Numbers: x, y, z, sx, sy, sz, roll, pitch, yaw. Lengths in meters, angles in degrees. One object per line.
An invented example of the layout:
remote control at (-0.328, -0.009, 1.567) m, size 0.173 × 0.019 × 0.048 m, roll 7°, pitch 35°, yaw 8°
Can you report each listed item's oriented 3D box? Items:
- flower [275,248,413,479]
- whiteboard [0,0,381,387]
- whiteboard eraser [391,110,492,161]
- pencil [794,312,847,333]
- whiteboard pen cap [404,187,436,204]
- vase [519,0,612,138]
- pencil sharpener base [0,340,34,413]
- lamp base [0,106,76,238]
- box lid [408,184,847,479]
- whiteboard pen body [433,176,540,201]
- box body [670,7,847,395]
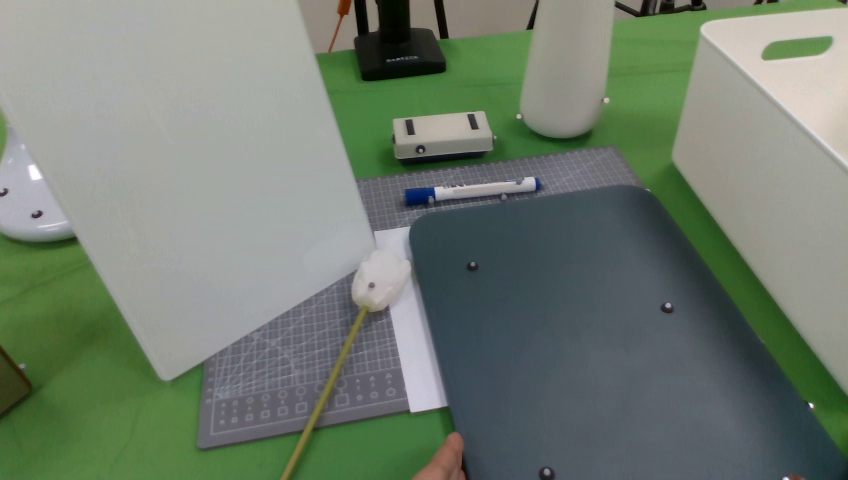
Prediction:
flower at (-0.087, 0.142, 0.447) m, size 0.044 × 0.038 × 0.359 m, roll 17°, pitch 51°, yaw 10°
whiteboard at (-0.198, -0.079, 0.513) m, size 0.217 × 0.308 × 0.142 m, roll -31°, pitch 31°, yaw -26°
whiteboard eraser at (0.019, -0.119, 0.699) m, size 0.113 × 0.042 × 0.055 m, roll -7°, pitch 42°, yaw -5°
pencil at (0.404, 0.085, 0.489) m, size 0.193 × 0.012 × 0.012 m, roll 13°, pitch 46°, yaw 13°
whiteboard pen cap at (-0.004, -0.047, 0.638) m, size 0.033 × 0.018 × 0.018 m, roll -4°, pitch 44°, yaw -6°
vase at (0.163, -0.215, 0.681) m, size 0.098 × 0.202 × 0.097 m, roll 0°, pitch 44°, yaw 0°
pencil sharpener base at (-0.360, 0.084, 0.450) m, size 0.076 × 0.108 × 0.061 m, roll 23°, pitch 50°, yaw 25°
lamp base at (-0.397, -0.118, 0.609) m, size 0.178 × 0.182 × 0.160 m, roll 20°, pitch 48°, yaw 24°
box lid at (0.140, 0.084, 0.502) m, size 0.264 × 0.015 × 0.367 m, roll -9°, pitch 44°, yaw -7°
whiteboard pen body at (0.054, -0.054, 0.644) m, size 0.141 × 0.017 × 0.017 m, roll -6°, pitch 44°, yaw -4°
box body at (0.411, -0.050, 0.527) m, size 0.254 × 0.162 × 0.360 m, roll -8°, pitch 44°, yaw -5°
